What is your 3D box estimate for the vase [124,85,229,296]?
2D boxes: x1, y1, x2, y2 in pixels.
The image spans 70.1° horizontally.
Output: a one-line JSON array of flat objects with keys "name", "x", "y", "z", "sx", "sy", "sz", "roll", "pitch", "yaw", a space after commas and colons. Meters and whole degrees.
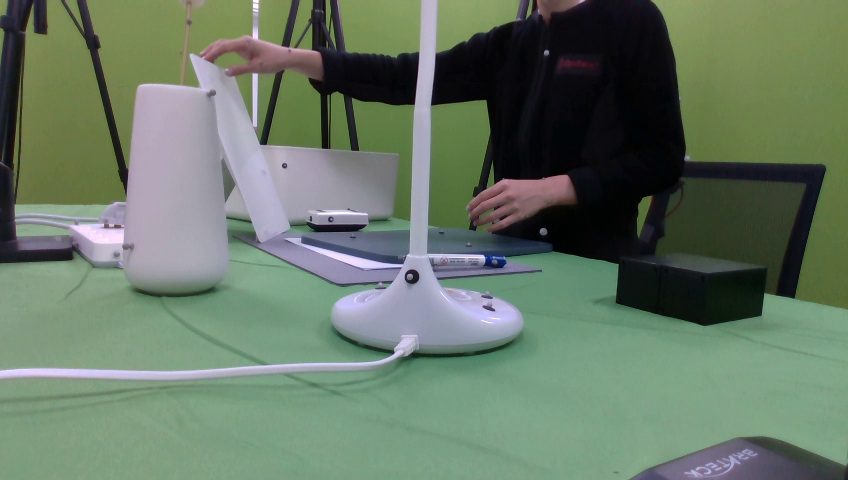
[{"name": "vase", "x": -0.244, "y": -0.047, "z": 0.598, "sx": 0.098, "sy": 0.200, "sz": 0.098, "roll": 3, "pitch": 8, "yaw": 0}]

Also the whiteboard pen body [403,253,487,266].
[{"name": "whiteboard pen body", "x": 0.040, "y": 0.026, "z": 0.785, "sx": 0.141, "sy": 0.017, "sz": 0.017, "roll": 1, "pitch": 7, "yaw": -24}]

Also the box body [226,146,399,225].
[{"name": "box body", "x": -0.264, "y": -0.129, "z": 1.380, "sx": 0.253, "sy": 0.160, "sz": 0.366, "roll": 8, "pitch": 9, "yaw": 39}]

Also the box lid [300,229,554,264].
[{"name": "box lid", "x": 0.011, "y": 0.006, "z": 0.998, "sx": 0.374, "sy": 0.015, "sz": 0.262, "roll": -3, "pitch": 9, "yaw": -43}]

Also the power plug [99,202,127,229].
[{"name": "power plug", "x": -0.415, "y": -0.026, "z": 0.848, "sx": 0.073, "sy": 0.052, "sz": 0.035, "roll": 6, "pitch": 5, "yaw": -28}]

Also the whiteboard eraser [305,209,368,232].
[{"name": "whiteboard eraser", "x": -0.168, "y": -0.038, "z": 1.172, "sx": 0.113, "sy": 0.042, "sz": 0.055, "roll": -3, "pitch": 8, "yaw": -35}]

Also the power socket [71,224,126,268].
[{"name": "power socket", "x": -0.409, "y": 0.004, "z": 0.793, "sx": 0.072, "sy": 0.032, "sz": 0.225, "roll": -2, "pitch": 8, "yaw": -37}]

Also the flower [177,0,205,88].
[{"name": "flower", "x": -0.243, "y": -0.131, "z": 0.609, "sx": 0.044, "sy": 0.361, "sz": 0.038, "roll": -5, "pitch": -12, "yaw": 11}]

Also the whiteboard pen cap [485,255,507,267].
[{"name": "whiteboard pen cap", "x": 0.093, "y": 0.028, "z": 0.810, "sx": 0.033, "sy": 0.018, "sz": 0.018, "roll": 1, "pitch": 7, "yaw": -24}]

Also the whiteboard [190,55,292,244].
[{"name": "whiteboard", "x": -0.363, "y": -0.129, "z": 1.028, "sx": 0.144, "sy": 0.305, "sz": 0.217, "roll": -18, "pitch": 7, "yaw": 3}]

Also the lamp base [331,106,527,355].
[{"name": "lamp base", "x": 0.006, "y": -0.012, "z": 0.478, "sx": 0.161, "sy": 0.180, "sz": 0.179, "roll": 2, "pitch": 10, "yaw": 2}]
